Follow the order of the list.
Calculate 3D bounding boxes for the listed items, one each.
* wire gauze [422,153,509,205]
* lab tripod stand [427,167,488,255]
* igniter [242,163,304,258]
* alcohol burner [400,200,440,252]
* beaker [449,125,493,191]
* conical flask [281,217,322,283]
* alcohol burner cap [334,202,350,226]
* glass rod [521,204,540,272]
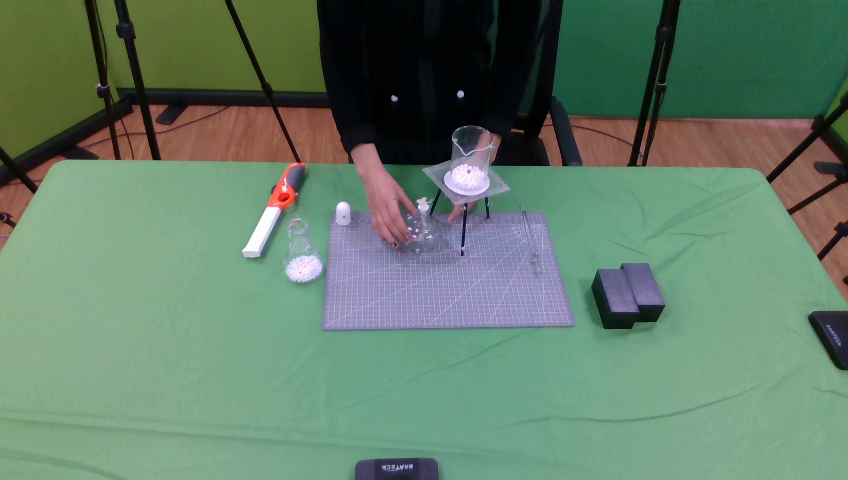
[{"bbox_3d":[0.078,-0.114,1.144,0.125,0.011,0.120,-21,48,-20],"label":"wire gauze"},{"bbox_3d":[0.076,-0.068,1.191,0.148,0.132,0.147,3,44,-2],"label":"lab tripod stand"},{"bbox_3d":[-0.305,-0.069,1.239,0.057,0.025,0.275,2,45,12],"label":"igniter"},{"bbox_3d":[-0.007,-0.033,1.165,0.078,0.119,0.077,3,47,-3],"label":"alcohol burner"},{"bbox_3d":[0.083,-0.146,1.108,0.074,0.101,0.083,15,47,11],"label":"beaker"},{"bbox_3d":[-0.225,0.016,1.097,0.075,0.122,0.075,3,46,-2],"label":"conical flask"},{"bbox_3d":[-0.166,-0.056,1.222,0.034,0.048,0.033,2,46,-2],"label":"alcohol burner cap"},{"bbox_3d":[0.215,-0.008,1.230,0.008,0.008,0.198,0,43,-3],"label":"glass rod"}]
